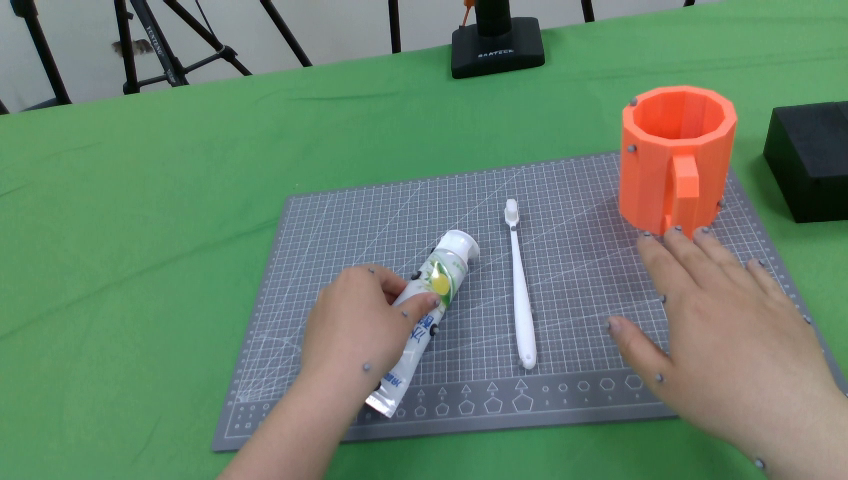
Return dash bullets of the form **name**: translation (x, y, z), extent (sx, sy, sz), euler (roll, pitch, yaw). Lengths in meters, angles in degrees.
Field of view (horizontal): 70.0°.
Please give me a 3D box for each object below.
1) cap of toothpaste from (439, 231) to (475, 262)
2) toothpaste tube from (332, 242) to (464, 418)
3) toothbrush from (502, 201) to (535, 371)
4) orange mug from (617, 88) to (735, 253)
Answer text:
- **cap of toothpaste**: translation (0.028, 0.008, 0.535), extent (0.037, 0.038, 0.011), euler (14, 50, 27)
- **toothpaste tube**: translation (-0.010, 0.060, 0.490), extent (0.055, 0.035, 0.164), euler (31, 54, 4)
- **toothbrush**: translation (0.079, 0.031, 0.511), extent (0.014, 0.017, 0.180), euler (2, 45, 0)
- **orange mug**: translation (0.208, -0.054, 0.505), extent (0.083, 0.102, 0.125), euler (-1, 40, 14)
